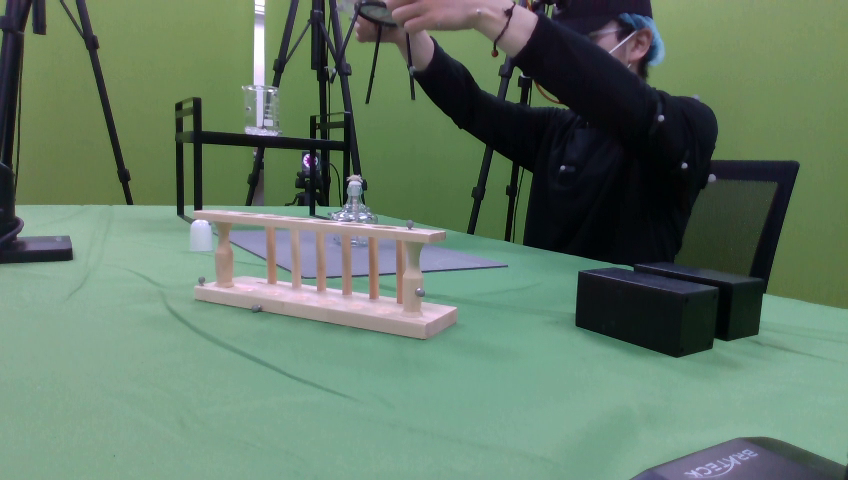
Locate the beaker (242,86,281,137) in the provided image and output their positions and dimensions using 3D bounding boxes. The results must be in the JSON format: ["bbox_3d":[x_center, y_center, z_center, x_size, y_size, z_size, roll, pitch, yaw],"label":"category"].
[{"bbox_3d":[-0.338,-0.265,1.252,0.073,0.100,0.084,8,10,38],"label":"beaker"}]

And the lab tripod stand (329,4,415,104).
[{"bbox_3d":[-0.072,-0.289,0.952,0.148,0.131,0.148,10,0,0],"label":"lab tripod stand"}]

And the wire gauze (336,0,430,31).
[{"bbox_3d":[-0.065,-0.355,0.947,0.125,0.011,0.121,13,1,-21],"label":"wire gauze"}]

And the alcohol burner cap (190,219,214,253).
[{"bbox_3d":[-0.321,-0.006,0.875,0.034,0.048,0.034,4,8,0],"label":"alcohol burner cap"}]

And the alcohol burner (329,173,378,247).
[{"bbox_3d":[-0.113,-0.049,0.972,0.078,0.119,0.078,1,9,0],"label":"alcohol burner"}]

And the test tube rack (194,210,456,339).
[{"bbox_3d":[-0.093,0.023,0.545,0.241,0.085,0.067,6,8,25],"label":"test tube rack"}]
